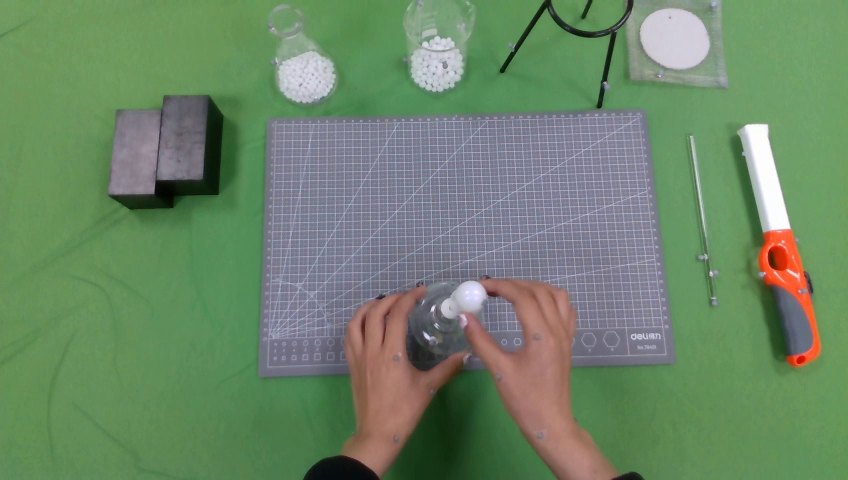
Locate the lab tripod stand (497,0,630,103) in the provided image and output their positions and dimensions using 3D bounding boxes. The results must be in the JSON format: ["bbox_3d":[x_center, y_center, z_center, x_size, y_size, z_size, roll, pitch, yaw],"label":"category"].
[{"bbox_3d":[0.161,-0.234,0.677,0.148,0.132,0.147,0,78,0],"label":"lab tripod stand"}]

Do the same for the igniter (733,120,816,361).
[{"bbox_3d":[0.393,-0.004,0.680,0.057,0.025,0.275,-3,77,-12],"label":"igniter"}]

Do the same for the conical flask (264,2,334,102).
[{"bbox_3d":[-0.144,-0.212,0.673,0.075,0.122,0.075,0,76,0],"label":"conical flask"}]

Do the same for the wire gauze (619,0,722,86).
[{"bbox_3d":[0.304,-0.251,0.747,0.125,0.011,0.121,3,78,-2],"label":"wire gauze"}]

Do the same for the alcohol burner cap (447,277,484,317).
[{"bbox_3d":[0.039,0.049,0.544,0.034,0.048,0.033,1,73,-3],"label":"alcohol burner cap"}]

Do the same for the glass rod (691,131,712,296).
[{"bbox_3d":[0.320,-0.034,0.698,0.008,0.008,0.198,1,76,-1],"label":"glass rod"}]

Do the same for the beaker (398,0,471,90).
[{"bbox_3d":[0.013,-0.225,0.690,0.084,0.100,0.073,-28,78,-7],"label":"beaker"}]

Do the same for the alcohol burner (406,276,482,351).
[{"bbox_3d":[0.021,0.071,0.611,0.078,0.119,0.077,1,75,-2],"label":"alcohol burner"}]
